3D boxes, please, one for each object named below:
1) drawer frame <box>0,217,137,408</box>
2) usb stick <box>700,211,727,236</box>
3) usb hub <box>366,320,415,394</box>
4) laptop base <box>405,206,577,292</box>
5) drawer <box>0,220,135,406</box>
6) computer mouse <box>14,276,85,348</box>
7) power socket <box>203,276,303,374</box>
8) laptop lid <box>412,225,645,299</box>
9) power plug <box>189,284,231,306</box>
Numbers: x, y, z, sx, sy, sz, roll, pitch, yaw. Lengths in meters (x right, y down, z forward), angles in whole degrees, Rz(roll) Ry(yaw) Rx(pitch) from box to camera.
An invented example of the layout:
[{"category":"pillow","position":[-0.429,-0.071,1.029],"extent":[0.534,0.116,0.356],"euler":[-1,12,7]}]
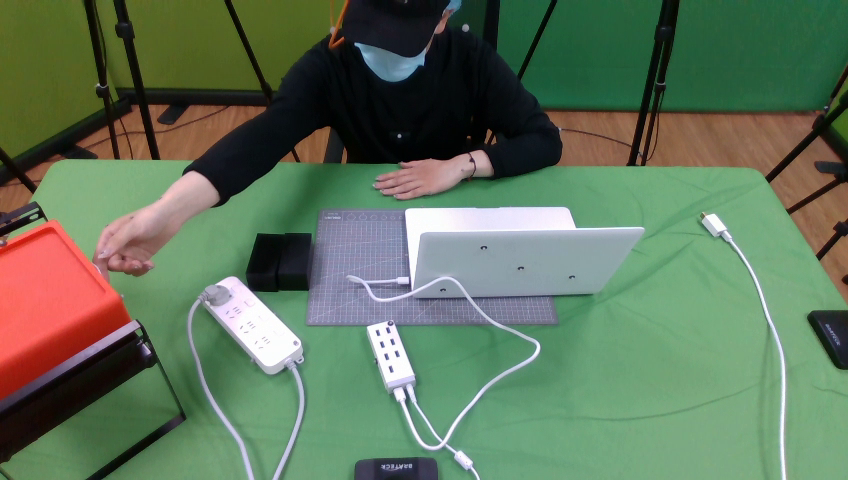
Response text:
[{"category":"drawer frame","position":[-0.523,0.094,0.779],"extent":[0.200,0.083,0.213],"euler":[37,55,26]},{"category":"usb stick","position":[0.606,-0.038,1.273],"extent":[0.027,0.021,0.059],"euler":[-18,57,-20]},{"category":"usb hub","position":[-0.056,0.192,1.009],"extent":[0.049,0.025,0.124],"euler":[-12,49,-16]},{"category":"laptop base","position":[0.143,0.018,1.196],"extent":[0.355,0.023,0.234],"euler":[-1,43,-6]},{"category":"drawer","position":[-0.522,0.093,0.782],"extent":[0.193,0.073,0.211],"euler":[38,55,27]},{"category":"computer mouse","position":[-0.496,0.090,0.804],"extent":[0.063,0.041,0.116],"euler":[-7,42,-7]},{"category":"power socket","position":[-0.296,0.141,1.034],"extent":[0.072,0.033,0.225],"euler":[-34,58,-30]},{"category":"laptop lid","position":[0.161,0.042,1.012],"extent":[0.357,0.242,0.013],"euler":[0,59,-7]},{"category":"power plug","position":[-0.367,0.100,1.037],"extent":[0.072,0.053,0.035],"euler":[-23,52,-26]}]
